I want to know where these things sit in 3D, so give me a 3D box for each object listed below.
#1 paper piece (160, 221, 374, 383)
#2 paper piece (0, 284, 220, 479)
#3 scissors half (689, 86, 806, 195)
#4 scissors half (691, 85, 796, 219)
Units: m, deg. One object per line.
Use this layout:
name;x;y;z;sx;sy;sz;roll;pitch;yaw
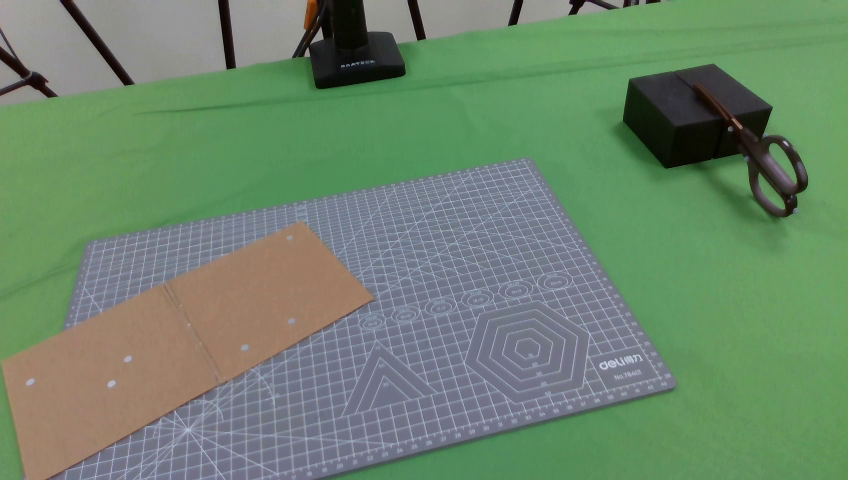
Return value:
paper piece;-0.136;0.043;0.518;0.138;0.009;0.134;-27;50;-24
paper piece;-0.244;0.100;0.464;0.136;0.004;0.134;-27;46;-23
scissors half;0.294;-0.102;0.564;0.013;0.040;0.173;-19;42;0
scissors half;0.298;-0.089;0.580;0.013;0.040;0.173;-16;59;-4
